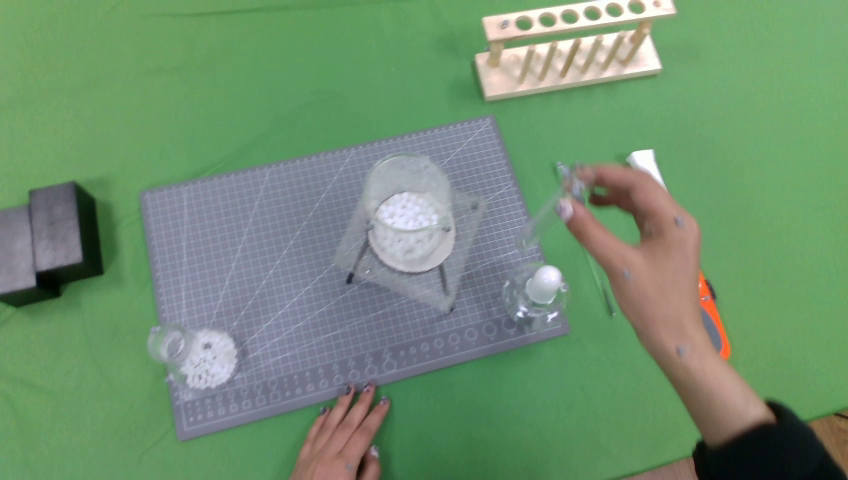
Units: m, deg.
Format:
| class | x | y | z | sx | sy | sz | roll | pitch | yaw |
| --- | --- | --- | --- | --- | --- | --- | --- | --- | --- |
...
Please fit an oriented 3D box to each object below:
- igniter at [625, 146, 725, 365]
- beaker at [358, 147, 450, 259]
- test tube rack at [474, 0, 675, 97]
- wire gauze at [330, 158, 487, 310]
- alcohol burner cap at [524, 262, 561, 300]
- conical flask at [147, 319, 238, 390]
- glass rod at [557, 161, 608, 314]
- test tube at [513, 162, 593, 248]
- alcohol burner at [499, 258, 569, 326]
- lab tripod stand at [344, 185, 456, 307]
| class | x | y | z | sx | sy | sz | roll | pitch | yaw |
| --- | --- | --- | --- | --- | --- | --- | --- | --- | --- |
| igniter | 0.302 | 0.013 | 0.732 | 0.057 | 0.025 | 0.274 | -8 | 73 | -17 |
| beaker | -0.015 | -0.027 | 0.548 | 0.084 | 0.101 | 0.074 | 35 | 74 | 8 |
| test tube rack | 0.193 | -0.253 | 0.781 | 0.243 | 0.085 | 0.066 | -10 | 72 | -6 |
| wire gauze | -0.014 | -0.010 | 0.594 | 0.125 | 0.011 | 0.121 | 22 | 75 | 2 |
| alcohol burner cap | 0.124 | 0.040 | 0.627 | 0.034 | 0.048 | 0.033 | 2 | 65 | -4 |
| conical flask | -0.240 | 0.110 | 0.617 | 0.075 | 0.122 | 0.075 | 1 | 72 | -3 |
| glass rod | 0.194 | -0.006 | 0.743 | 0.008 | 0.008 | 0.198 | -12 | 76 | -7 |
| test tube | 0.095 | -0.022 | 0.467 | 0.017 | 0.151 | 0.017 | 2 | 72 | -7 |
| alcohol burner | 0.123 | 0.053 | 0.661 | 0.078 | 0.120 | 0.077 | 0 | 72 | 0 |
| lab tripod stand | -0.020 | 0.009 | 0.657 | 0.148 | 0.132 | 0.147 | 1 | 74 | -2 |
